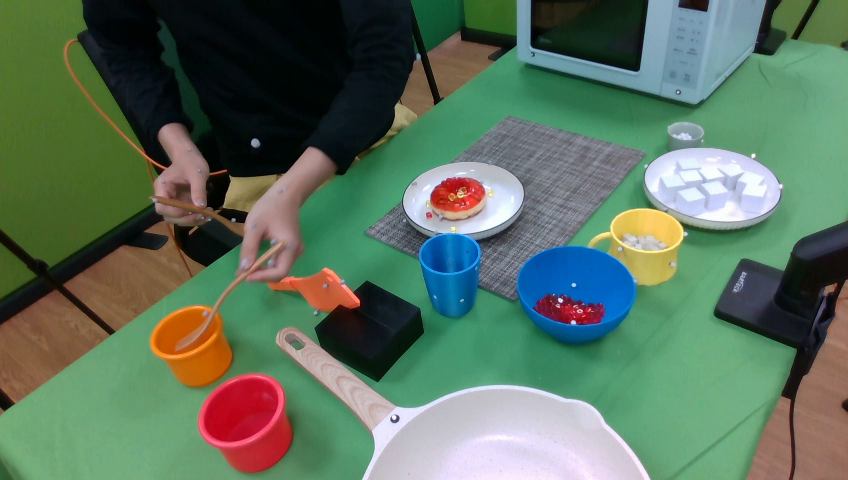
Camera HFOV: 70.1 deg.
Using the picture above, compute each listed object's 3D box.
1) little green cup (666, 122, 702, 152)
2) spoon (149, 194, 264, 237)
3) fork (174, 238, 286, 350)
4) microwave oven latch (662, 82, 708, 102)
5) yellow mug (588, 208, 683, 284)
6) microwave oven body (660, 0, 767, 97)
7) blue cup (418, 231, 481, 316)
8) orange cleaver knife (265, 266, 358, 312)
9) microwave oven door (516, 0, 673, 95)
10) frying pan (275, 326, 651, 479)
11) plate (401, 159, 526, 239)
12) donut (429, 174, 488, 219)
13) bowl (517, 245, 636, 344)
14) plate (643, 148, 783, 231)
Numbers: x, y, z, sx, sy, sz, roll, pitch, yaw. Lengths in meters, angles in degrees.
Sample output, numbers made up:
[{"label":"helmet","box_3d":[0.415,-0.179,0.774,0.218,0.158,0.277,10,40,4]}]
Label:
[{"label":"little green cup","box_3d":[0.472,-0.183,1.102,0.061,0.039,0.061,-5,41,5]},{"label":"spoon","box_3d":[-0.317,-0.038,0.896,0.021,0.195,0.041,-53,54,6]},{"label":"fork","box_3d":[-0.247,0.069,0.765,0.207,0.019,0.028,-46,25,11]},{"label":"microwave oven latch","box_3d":[0.518,-0.298,1.203,0.078,0.029,0.030,28,53,35]},{"label":"yellow mug","box_3d":[0.305,0.009,0.884,0.131,0.064,0.099,-4,40,5]},{"label":"microwave oven body","box_3d":[0.474,-0.517,1.313,0.438,0.261,0.327,26,51,34]},{"label":"blue cup","box_3d":[0.040,0.053,0.843,0.092,0.100,0.092,-4,43,4]},{"label":"orange cleaver knife","box_3d":[-0.164,0.072,0.864,0.210,0.077,0.012,-5,30,50]},{"label":"microwave oven door","box_3d":[0.344,-0.458,1.256,0.353,0.245,0.039,26,51,33]},{"label":"frying pan","box_3d":[0.004,0.229,0.641,0.484,0.103,0.308,34,54,28]},{"label":"plate","box_3d":[0.067,-0.065,1.019,0.209,0.038,0.208,-4,40,4]},{"label":"donut","box_3d":[0.058,-0.075,1.015,0.099,0.048,0.098,-6,38,5]},{"label":"bowl","box_3d":[0.200,0.084,0.803,0.151,0.077,0.150,-4,40,4]},{"label":"plate","box_3d":[0.464,-0.079,0.986,0.207,0.039,0.206,-4,40,4]}]
